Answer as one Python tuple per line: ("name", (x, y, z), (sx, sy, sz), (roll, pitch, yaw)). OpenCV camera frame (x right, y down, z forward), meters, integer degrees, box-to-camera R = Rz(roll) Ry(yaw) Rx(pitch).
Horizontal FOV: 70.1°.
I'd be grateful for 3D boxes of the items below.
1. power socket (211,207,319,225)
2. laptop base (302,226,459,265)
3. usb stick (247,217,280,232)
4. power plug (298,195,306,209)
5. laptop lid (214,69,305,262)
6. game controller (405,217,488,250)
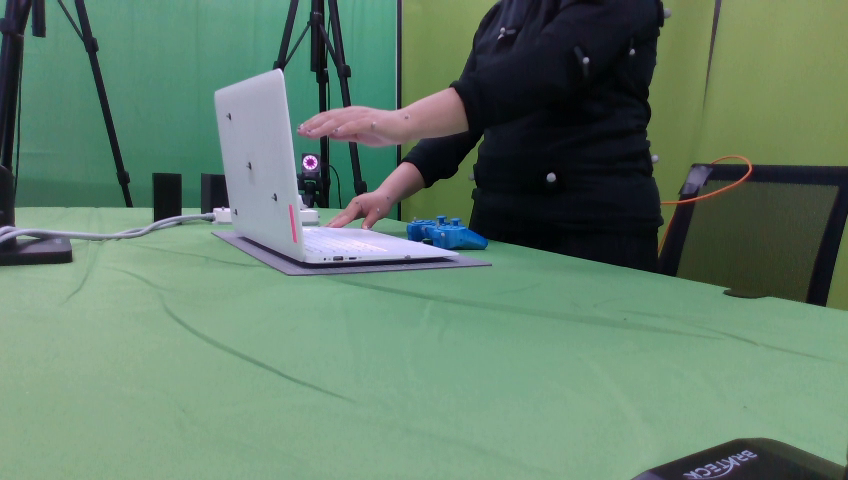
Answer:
("power socket", (-0.334, -0.051, 1.281), (0.228, 0.032, 0.072), (-1, 9, -29))
("laptop base", (-0.136, 0.007, 0.951), (0.237, 0.023, 0.352), (2, 6, -32))
("usb stick", (-0.296, -0.028, 1.114), (0.059, 0.027, 0.021), (-3, 9, -29))
("power plug", (-0.283, -0.075, 1.342), (0.035, 0.052, 0.072), (0, 3, -18))
("laptop lid", (-0.246, -0.107, 0.866), (0.013, 0.241, 0.355), (-11, 14, -30))
("game controller", (0.034, -0.013, 1.067), (0.097, 0.051, 0.154), (-6, 10, -29))
